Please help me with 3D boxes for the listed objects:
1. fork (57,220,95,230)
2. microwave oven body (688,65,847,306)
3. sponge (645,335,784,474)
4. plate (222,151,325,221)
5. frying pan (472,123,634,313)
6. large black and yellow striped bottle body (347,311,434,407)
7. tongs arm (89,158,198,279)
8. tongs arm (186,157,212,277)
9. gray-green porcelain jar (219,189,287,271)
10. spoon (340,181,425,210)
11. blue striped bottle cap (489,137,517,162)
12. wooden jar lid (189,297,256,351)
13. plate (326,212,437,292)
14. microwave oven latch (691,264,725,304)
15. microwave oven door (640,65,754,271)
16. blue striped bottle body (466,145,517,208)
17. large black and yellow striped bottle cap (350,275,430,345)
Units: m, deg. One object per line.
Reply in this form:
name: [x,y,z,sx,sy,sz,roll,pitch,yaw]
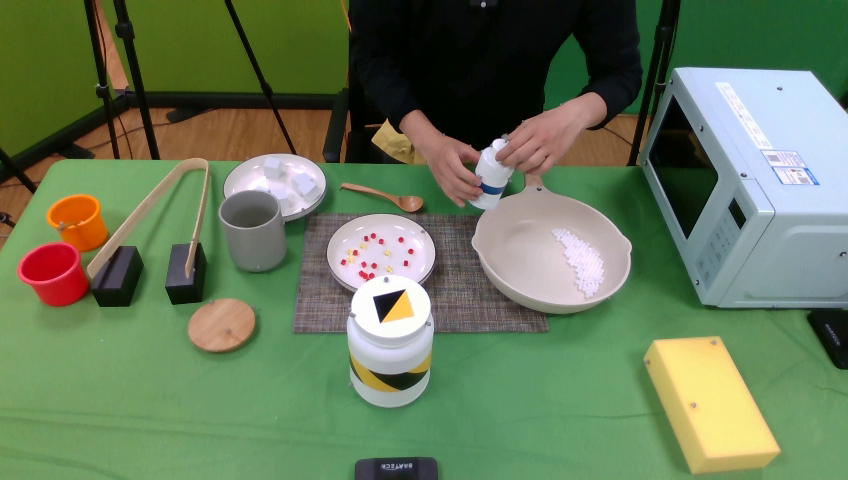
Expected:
fork: [-0.624,-0.027,1.086,0.028,0.207,0.018,-3,92,-17]
microwave oven body: [0.669,-0.111,1.176,0.326,0.261,0.439,0,46,-3]
sponge: [0.449,0.253,0.956,0.118,0.061,0.205,-4,46,-7]
plate: [-0.310,-0.106,1.262,0.208,0.039,0.206,2,46,-2]
frying pan: [0.235,-0.060,1.208,0.307,0.103,0.484,1,55,-6]
large black and yellow striped bottle body: [-0.052,0.157,0.929,0.131,0.185,0.130,2,47,-2]
tongs arm: [-0.529,-0.057,1.164,0.028,0.028,0.385,1,36,8]
tongs arm: [-0.445,-0.058,1.168,0.051,0.026,0.382,-5,37,-6]
gray-green porcelain jar: [-0.310,-0.014,1.113,0.106,0.127,0.105,2,46,-2]
spoon: [-0.090,-0.101,1.284,0.193,0.022,0.041,18,65,12]
blue striped bottle cap: [0.134,-0.152,1.016,0.045,0.021,0.044,12,42,-11]
wooden jar lid: [-0.342,0.145,1.033,0.108,0.021,0.107,2,45,-2]
plate: [-0.080,0.030,1.143,0.209,0.038,0.208,2,46,-2]
microwave oven latch: [0.521,0.081,1.116,0.030,0.029,0.078,0,46,-3]
microwave oven door: [0.523,-0.147,1.193,0.039,0.245,0.353,0,47,-3]
blue striped bottle body: [0.121,-0.118,1.052,0.063,0.121,0.062,11,44,-11]
large black and yellow striped bottle cap: [-0.048,0.097,0.868,0.115,0.019,0.114,3,48,-3]
